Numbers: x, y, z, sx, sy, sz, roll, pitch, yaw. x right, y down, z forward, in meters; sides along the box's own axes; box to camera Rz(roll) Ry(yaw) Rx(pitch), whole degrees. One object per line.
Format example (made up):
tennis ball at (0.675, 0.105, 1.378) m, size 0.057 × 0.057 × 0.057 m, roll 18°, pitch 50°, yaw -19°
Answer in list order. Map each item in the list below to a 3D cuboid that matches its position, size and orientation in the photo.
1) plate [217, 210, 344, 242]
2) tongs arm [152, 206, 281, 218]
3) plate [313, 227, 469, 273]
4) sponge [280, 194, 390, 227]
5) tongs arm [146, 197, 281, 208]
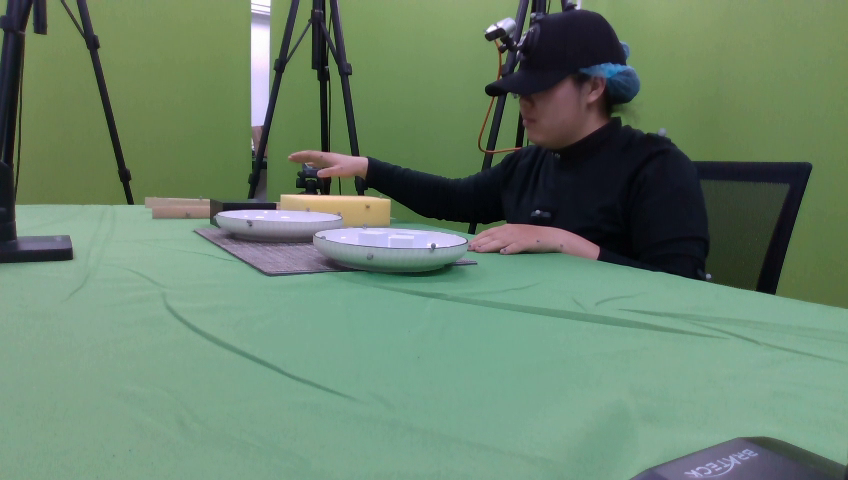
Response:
plate at (-0.241, -0.024, 1.026) m, size 0.208 × 0.039 × 0.207 m, roll 3°, pitch 7°, yaw 0°
tongs arm at (-0.397, -0.064, 1.345) m, size 0.390 × 0.028 × 0.028 m, roll -3°, pitch 7°, yaw -38°
plate at (-0.044, 0.012, 0.807) m, size 0.209 × 0.038 × 0.209 m, roll 2°, pitch 7°, yaw 0°
sponge at (-0.189, -0.063, 1.291) m, size 0.208 × 0.061 × 0.117 m, roll -2°, pitch 9°, yaw -35°
tongs arm at (-0.437, -0.079, 1.415) m, size 0.387 × 0.026 × 0.050 m, roll 1°, pitch 8°, yaw -25°
